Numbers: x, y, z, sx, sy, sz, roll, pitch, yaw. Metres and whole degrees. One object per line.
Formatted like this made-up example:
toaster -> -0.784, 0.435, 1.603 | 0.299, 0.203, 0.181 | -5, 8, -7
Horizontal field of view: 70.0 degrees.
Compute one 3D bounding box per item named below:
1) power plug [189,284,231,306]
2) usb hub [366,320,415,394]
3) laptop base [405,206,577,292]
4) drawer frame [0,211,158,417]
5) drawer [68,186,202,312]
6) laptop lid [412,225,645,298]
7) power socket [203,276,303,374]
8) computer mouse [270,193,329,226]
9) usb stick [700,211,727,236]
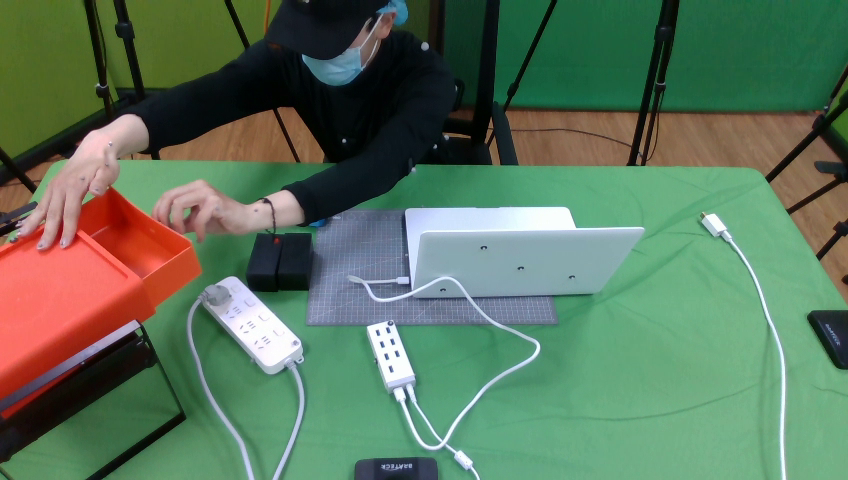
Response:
power plug -> -0.368, 0.100, 1.037 | 0.072, 0.053, 0.035 | -22, 53, -26
usb hub -> -0.056, 0.192, 1.009 | 0.049, 0.025, 0.124 | -12, 49, -16
laptop base -> 0.143, 0.018, 1.195 | 0.355, 0.023, 0.234 | -1, 43, -6
drawer frame -> -0.502, 0.085, 0.788 | 0.201, 0.083, 0.213 | 31, 52, 22
drawer -> -0.456, 0.041, 0.836 | 0.193, 0.073, 0.211 | 29, 53, 23
laptop lid -> 0.161, 0.042, 1.012 | 0.357, 0.242, 0.013 | 0, 59, -7
power socket -> -0.295, 0.141, 1.034 | 0.072, 0.033, 0.225 | -34, 58, -30
computer mouse -> -0.253, -0.064, 1.228 | 0.117, 0.041, 0.062 | 5, 49, 10
usb stick -> 0.606, -0.038, 1.273 | 0.027, 0.021, 0.059 | -18, 56, -20
